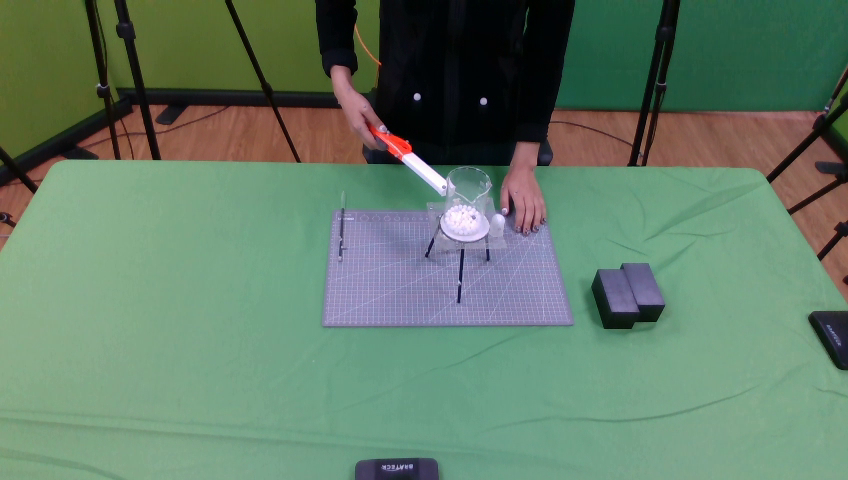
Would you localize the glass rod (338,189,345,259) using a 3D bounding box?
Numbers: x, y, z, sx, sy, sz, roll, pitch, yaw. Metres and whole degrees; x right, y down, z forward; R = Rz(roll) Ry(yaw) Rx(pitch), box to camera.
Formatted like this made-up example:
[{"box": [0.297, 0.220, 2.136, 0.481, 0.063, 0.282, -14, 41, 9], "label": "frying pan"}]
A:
[{"box": [-0.166, -0.036, 1.227, 0.008, 0.008, 0.198, -1, 47, -4], "label": "glass rod"}]

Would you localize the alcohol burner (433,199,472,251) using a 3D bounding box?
[{"box": [0.056, -0.036, 1.170, 0.078, 0.119, 0.077, 3, 48, -3], "label": "alcohol burner"}]

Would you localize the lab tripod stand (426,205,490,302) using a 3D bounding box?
[{"box": [0.069, 0.017, 1.106, 0.148, 0.132, 0.147, 3, 47, -3], "label": "lab tripod stand"}]

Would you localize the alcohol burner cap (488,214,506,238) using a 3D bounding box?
[{"box": [0.148, -0.032, 1.222, 0.034, 0.048, 0.033, 2, 45, -2], "label": "alcohol burner cap"}]

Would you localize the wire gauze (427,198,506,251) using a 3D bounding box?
[{"box": [0.072, -0.028, 1.057, 0.125, 0.011, 0.120, -1, 49, -8], "label": "wire gauze"}]

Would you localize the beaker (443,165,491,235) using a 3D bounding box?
[{"box": [0.070, -0.062, 1.023, 0.074, 0.101, 0.083, -2, 48, -6], "label": "beaker"}]

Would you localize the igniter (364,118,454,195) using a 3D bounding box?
[{"box": [-0.038, -0.173, 1.214, 0.057, 0.025, 0.275, -20, 49, -35], "label": "igniter"}]
